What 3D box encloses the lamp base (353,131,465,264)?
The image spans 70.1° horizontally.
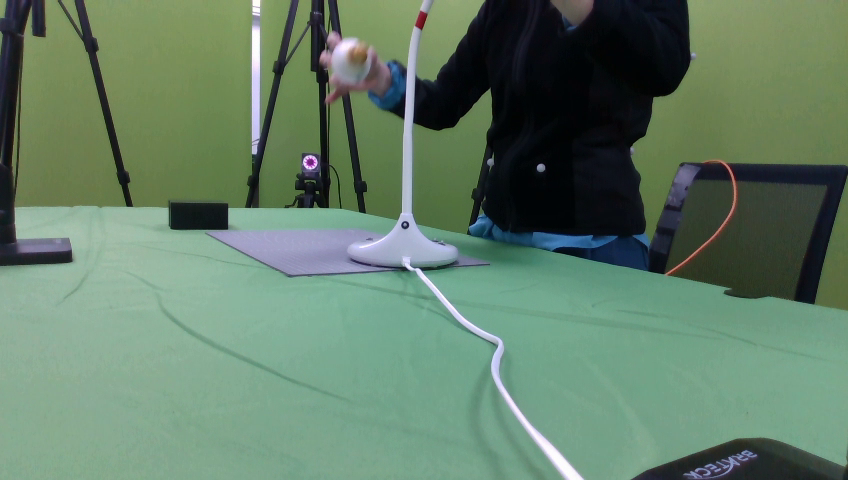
[{"bbox_3d":[-0.014,-0.062,0.850,0.161,0.180,0.178,-1,11,-20],"label":"lamp base"}]
